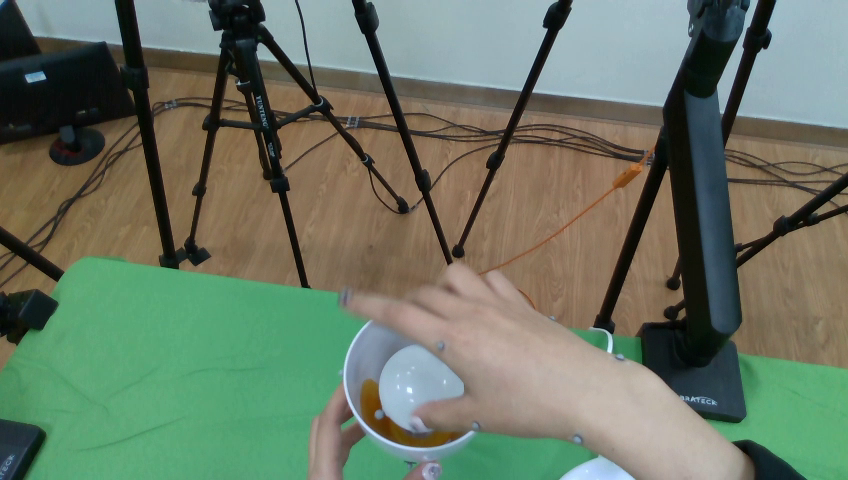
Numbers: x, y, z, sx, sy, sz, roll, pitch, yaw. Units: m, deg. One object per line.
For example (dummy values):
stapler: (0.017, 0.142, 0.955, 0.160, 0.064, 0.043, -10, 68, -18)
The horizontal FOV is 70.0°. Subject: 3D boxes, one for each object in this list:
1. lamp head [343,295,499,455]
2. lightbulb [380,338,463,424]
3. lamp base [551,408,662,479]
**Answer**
lamp head: (0.002, 0.118, 0.476, 0.112, 0.124, 0.111, -2, 58, 4)
lightbulb: (-0.002, 0.110, 0.451, 0.059, 0.108, 0.059, 1, 65, -1)
lamp base: (0.206, 0.256, 0.606, 0.161, 0.182, 0.177, -4, 51, -4)
